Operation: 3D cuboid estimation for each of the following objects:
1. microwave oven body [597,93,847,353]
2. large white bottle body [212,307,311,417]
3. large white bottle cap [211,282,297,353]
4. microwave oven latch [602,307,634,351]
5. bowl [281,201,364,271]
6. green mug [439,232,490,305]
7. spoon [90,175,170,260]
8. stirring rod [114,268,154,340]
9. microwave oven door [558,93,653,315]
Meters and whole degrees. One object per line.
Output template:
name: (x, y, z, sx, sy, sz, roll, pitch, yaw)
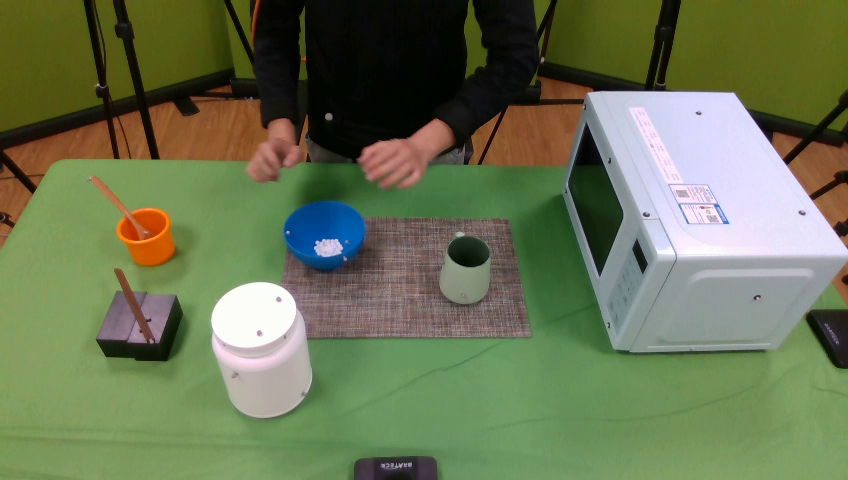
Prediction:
microwave oven body: (0.475, -0.042, 1.109, 0.326, 0.261, 0.438, -1, 45, -4)
large white bottle body: (-0.241, 0.165, 0.908, 0.131, 0.185, 0.130, 2, 46, -2)
large white bottle cap: (-0.237, 0.106, 0.846, 0.115, 0.018, 0.114, 2, 45, -2)
microwave oven latch: (0.332, 0.153, 1.044, 0.030, 0.029, 0.078, 0, 45, -4)
bowl: (-0.187, 0.005, 1.138, 0.151, 0.077, 0.150, 3, 45, -3)
green mug: (0.072, 0.044, 1.101, 0.092, 0.105, 0.124, -6, 47, -9)
spoon: (-0.539, -0.042, 1.112, 0.041, 0.194, 0.021, -46, 19, -32)
stirring rod: (-0.479, 0.103, 0.999, 0.014, 0.006, 0.175, 7, 32, -49)
microwave oven door: (0.327, -0.074, 1.123, 0.039, 0.245, 0.353, -1, 46, -5)
